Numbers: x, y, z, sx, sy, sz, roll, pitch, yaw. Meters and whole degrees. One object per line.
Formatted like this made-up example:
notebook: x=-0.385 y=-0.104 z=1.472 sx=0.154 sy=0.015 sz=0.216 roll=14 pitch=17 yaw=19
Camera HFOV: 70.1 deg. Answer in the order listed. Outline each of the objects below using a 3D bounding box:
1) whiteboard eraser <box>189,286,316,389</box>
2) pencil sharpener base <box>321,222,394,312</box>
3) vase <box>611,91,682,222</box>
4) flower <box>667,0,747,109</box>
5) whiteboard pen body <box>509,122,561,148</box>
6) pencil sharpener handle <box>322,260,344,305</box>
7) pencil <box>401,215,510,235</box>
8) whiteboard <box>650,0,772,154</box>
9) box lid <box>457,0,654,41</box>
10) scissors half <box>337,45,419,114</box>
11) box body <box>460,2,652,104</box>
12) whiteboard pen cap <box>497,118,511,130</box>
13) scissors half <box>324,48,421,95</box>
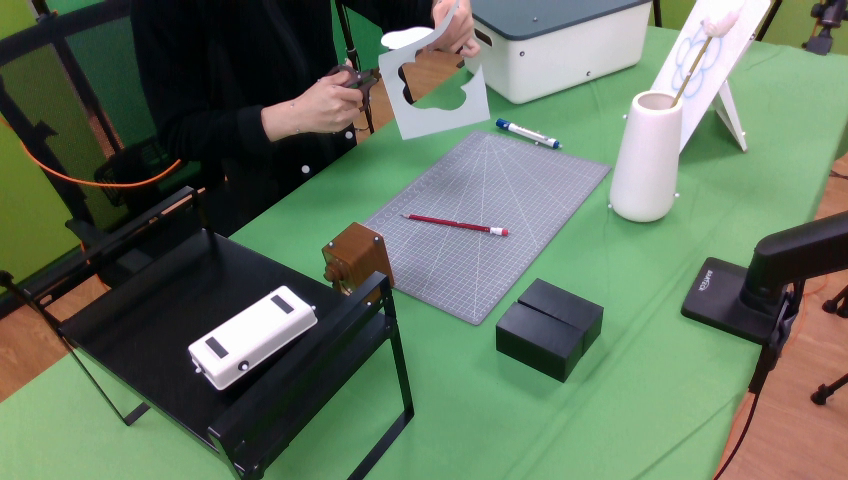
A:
whiteboard eraser: x=-0.166 y=0.096 z=0.593 sx=0.113 sy=0.042 sz=0.055 roll=-36 pitch=47 yaw=-29
pencil sharpener base: x=-0.096 y=0.041 z=0.873 sx=0.061 sy=0.107 sz=0.077 roll=25 pitch=54 yaw=32
vase: x=0.348 y=-0.125 z=0.935 sx=0.098 sy=0.201 sz=0.097 roll=-3 pitch=40 yaw=3
flower: x=0.354 y=-0.187 z=0.879 sx=0.038 sy=0.362 sz=0.044 roll=30 pitch=48 yaw=14
whiteboard pen body: x=0.208 y=-0.212 z=1.195 sx=0.139 sy=0.017 sz=0.017 roll=30 pitch=52 yaw=33
pencil sharpener handle: x=-0.131 y=0.061 z=0.839 sx=0.035 sy=0.068 sz=0.031 roll=29 pitch=56 yaw=27
pencil: x=0.049 y=-0.027 z=1.007 sx=0.193 sy=0.012 sz=0.012 roll=10 pitch=43 yaw=21
whiteboard: x=0.543 y=-0.298 z=1.076 sx=0.144 sy=0.305 sz=0.216 roll=12 pitch=40 yaw=-7
box lid: x=0.285 y=-0.522 z=1.323 sx=0.373 sy=0.015 sz=0.261 roll=-22 pitch=43 yaw=-16
scissors half: x=-0.070 y=-0.245 z=0.927 sx=0.174 sy=0.040 sz=0.013 roll=-33 pitch=16 yaw=34
box body: x=0.291 y=-0.465 z=1.371 sx=0.365 sy=0.161 sz=0.252 roll=-22 pitch=42 yaw=-16
whiteboard pen cap: x=0.165 y=-0.235 z=1.227 sx=0.033 sy=0.018 sz=0.018 roll=31 pitch=53 yaw=31
scissors half: x=-0.082 y=-0.261 z=0.920 sx=0.174 sy=0.040 sz=0.013 roll=-11 pitch=32 yaw=25
